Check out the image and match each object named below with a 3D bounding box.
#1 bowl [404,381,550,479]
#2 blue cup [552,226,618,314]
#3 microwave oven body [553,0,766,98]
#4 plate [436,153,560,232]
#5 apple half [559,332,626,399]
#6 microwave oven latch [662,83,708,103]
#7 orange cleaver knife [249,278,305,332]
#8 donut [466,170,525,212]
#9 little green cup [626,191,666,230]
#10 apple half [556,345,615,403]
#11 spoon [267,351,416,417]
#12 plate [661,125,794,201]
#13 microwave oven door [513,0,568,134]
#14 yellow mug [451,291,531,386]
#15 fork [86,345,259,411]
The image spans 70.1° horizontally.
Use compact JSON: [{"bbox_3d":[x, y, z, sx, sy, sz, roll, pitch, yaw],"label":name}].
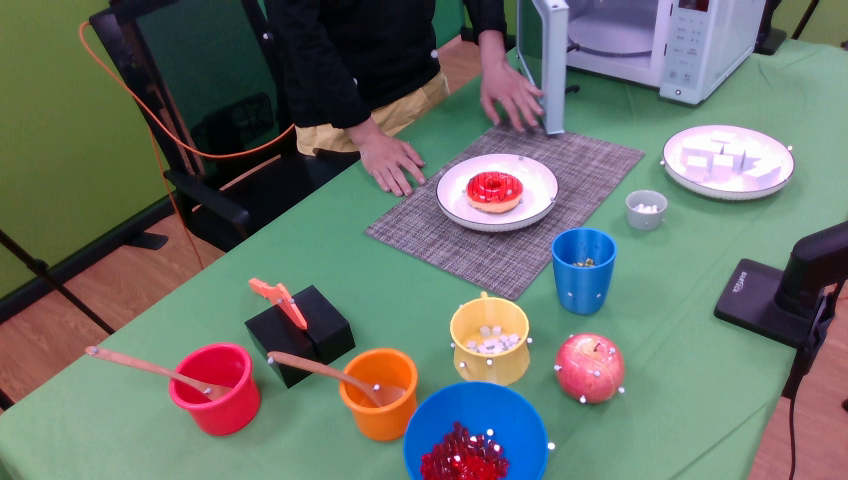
[{"bbox_3d":[0.058,0.235,0.645,0.151,0.077,0.150,-4,39,4],"label":"bowl"},{"bbox_3d":[0.218,0.047,0.826,0.092,0.101,0.092,-6,40,5],"label":"blue cup"},{"bbox_3d":[0.472,-0.513,1.317,0.438,0.261,0.327,26,51,34],"label":"microwave oven body"},{"bbox_3d":[0.125,-0.078,1.029,0.209,0.038,0.208,-4,40,4],"label":"plate"},{"bbox_3d":[0.209,0.147,0.730,0.080,0.075,0.053,26,48,38],"label":"apple half"},{"bbox_3d":[0.518,-0.297,1.204,0.030,0.029,0.078,-36,47,-29],"label":"microwave oven latch"},{"bbox_3d":[-0.210,0.089,0.855,0.012,0.077,0.210,-28,15,-24],"label":"orange cleaver knife"},{"bbox_3d":[0.120,-0.083,1.019,0.099,0.048,0.098,-4,39,3],"label":"donut"},{"bbox_3d":[0.352,-0.046,0.963,0.061,0.039,0.061,-4,40,4],"label":"little green cup"},{"bbox_3d":[0.181,0.166,0.709,0.080,0.081,0.033,29,50,35],"label":"apple half"},{"bbox_3d":[-0.091,0.163,0.699,0.021,0.195,0.041,-44,30,27],"label":"spoon"},{"bbox_3d":[0.513,-0.128,1.035,0.207,0.039,0.206,-4,40,4],"label":"plate"},{"bbox_3d":[0.232,-0.410,1.223,0.039,0.245,0.353,-8,40,0],"label":"microwave oven door"},{"bbox_3d":[0.086,0.120,0.786,0.100,0.064,0.130,-7,39,2],"label":"yellow mug"},{"bbox_3d":[-0.298,0.166,0.728,0.209,0.018,0.028,28,47,-23],"label":"fork"}]
